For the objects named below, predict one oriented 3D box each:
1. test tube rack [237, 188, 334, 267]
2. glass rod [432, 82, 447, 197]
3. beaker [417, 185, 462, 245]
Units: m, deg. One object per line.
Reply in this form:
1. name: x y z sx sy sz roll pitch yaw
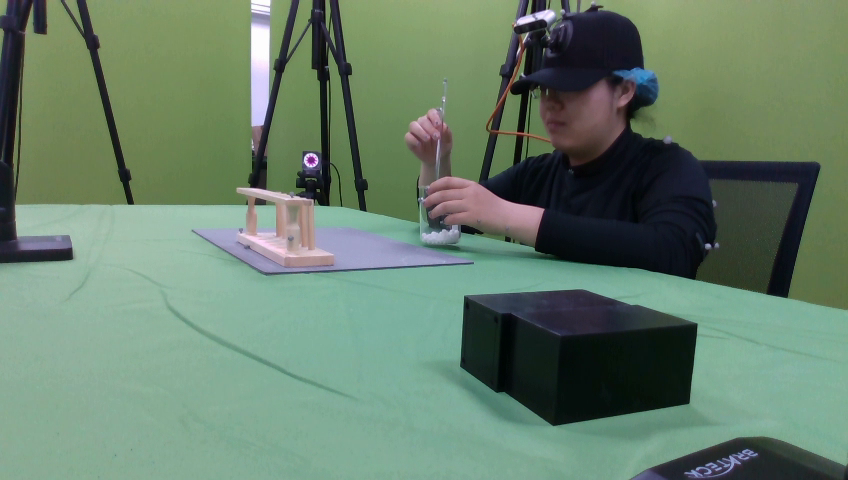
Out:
1. test tube rack: -0.202 -0.024 0.855 0.067 0.085 0.241 -2 8 -30
2. glass rod: 0.026 -0.171 1.022 0.008 0.199 0.008 6 -4 1
3. beaker: 0.030 -0.043 1.018 0.083 0.100 0.074 4 8 41
